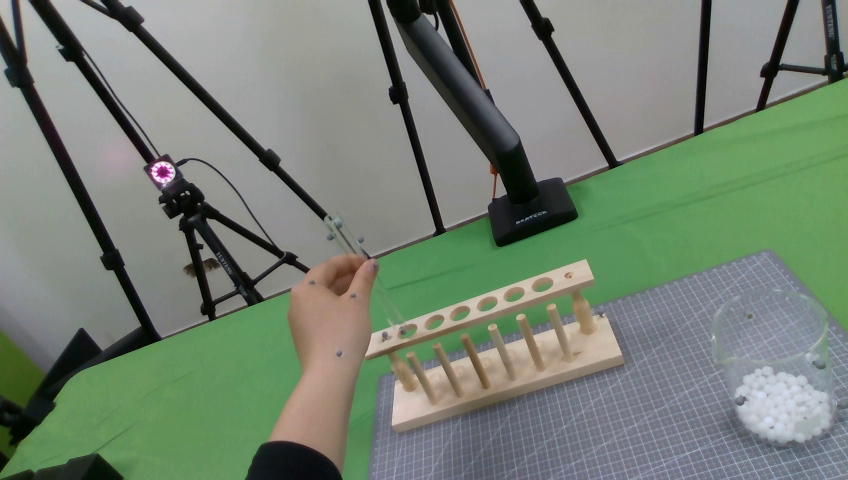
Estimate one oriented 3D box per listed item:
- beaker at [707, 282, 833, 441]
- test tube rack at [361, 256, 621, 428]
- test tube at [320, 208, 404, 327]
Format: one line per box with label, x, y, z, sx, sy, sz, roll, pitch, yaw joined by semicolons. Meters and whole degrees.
beaker;0.257;0.094;0.451;0.084;0.101;0.073;-30;28;-3
test tube rack;0.063;0.106;0.613;0.242;0.086;0.066;-21;29;12
test tube;-0.055;0.030;0.569;0.017;0.152;0.017;-19;35;14
